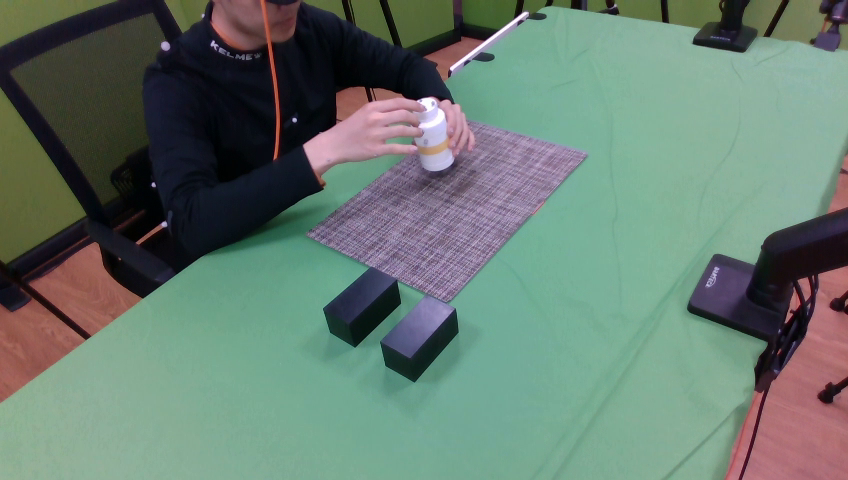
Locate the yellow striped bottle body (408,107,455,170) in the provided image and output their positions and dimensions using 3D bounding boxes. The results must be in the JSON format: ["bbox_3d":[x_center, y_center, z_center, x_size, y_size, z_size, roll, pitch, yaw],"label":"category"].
[{"bbox_3d":[0.011,-0.186,1.055,0.062,0.121,0.062,-10,45,10],"label":"yellow striped bottle body"}]

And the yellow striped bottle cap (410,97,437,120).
[{"bbox_3d":[-0.001,-0.222,1.019,0.044,0.019,0.044,-9,47,10],"label":"yellow striped bottle cap"}]
